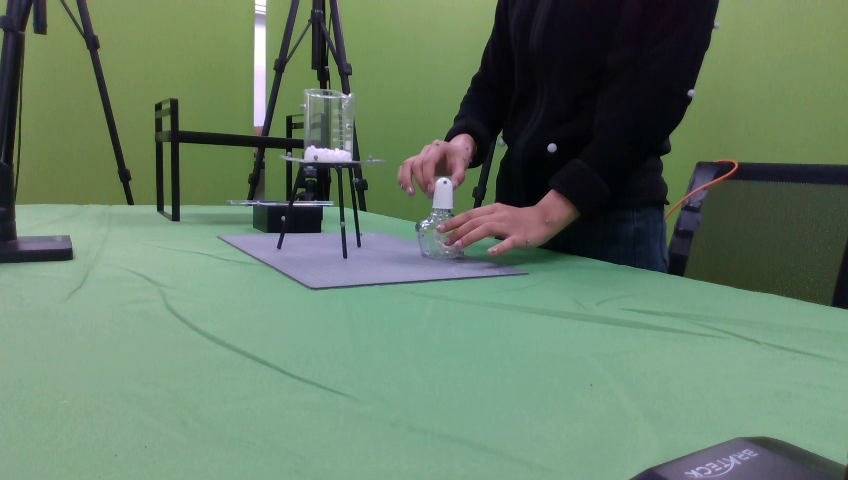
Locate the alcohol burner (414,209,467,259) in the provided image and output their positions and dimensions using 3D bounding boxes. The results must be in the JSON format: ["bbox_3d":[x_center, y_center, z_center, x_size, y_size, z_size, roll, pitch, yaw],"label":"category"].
[{"bbox_3d":[0.026,-0.032,0.891,0.078,0.119,0.078,4,5,0],"label":"alcohol burner"}]

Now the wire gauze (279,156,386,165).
[{"bbox_3d":[-0.134,-0.113,0.875,0.122,0.011,0.124,-1,6,-30],"label":"wire gauze"}]

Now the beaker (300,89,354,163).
[{"bbox_3d":[-0.137,-0.161,0.869,0.083,0.100,0.074,9,10,42],"label":"beaker"}]

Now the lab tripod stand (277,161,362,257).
[{"bbox_3d":[-0.143,-0.049,0.884,0.148,0.131,0.148,1,9,0],"label":"lab tripod stand"}]

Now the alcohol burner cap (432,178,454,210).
[{"bbox_3d":[0.029,-0.068,0.887,0.034,0.048,0.034,2,9,0],"label":"alcohol burner cap"}]

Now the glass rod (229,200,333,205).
[{"bbox_3d":[-0.265,-0.071,1.144,0.201,0.008,0.008,-1,8,-31],"label":"glass rod"}]
